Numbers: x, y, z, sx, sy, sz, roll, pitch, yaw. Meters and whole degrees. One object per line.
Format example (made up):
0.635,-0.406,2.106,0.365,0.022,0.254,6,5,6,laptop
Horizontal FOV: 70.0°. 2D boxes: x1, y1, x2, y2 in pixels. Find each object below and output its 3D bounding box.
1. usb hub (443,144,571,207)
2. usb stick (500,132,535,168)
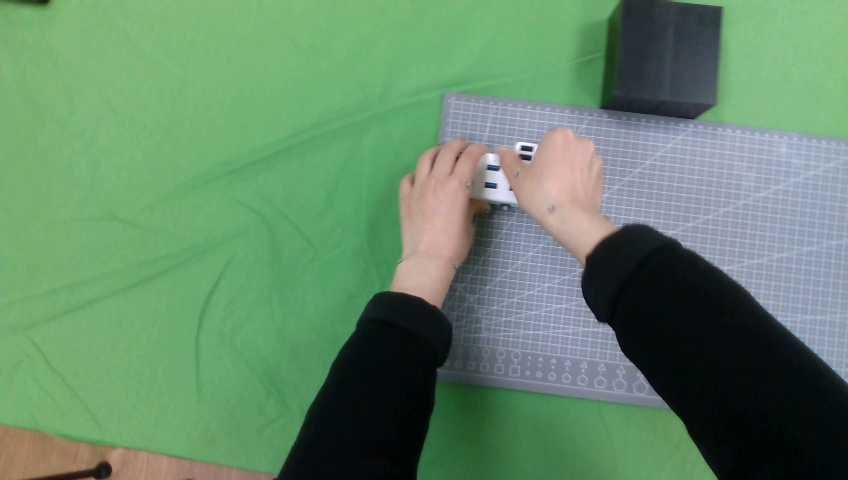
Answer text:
0.084,-0.066,0.620,0.125,0.025,0.049,7,84,1,usb hub
0.089,-0.086,0.592,0.021,0.059,0.027,23,87,-2,usb stick
